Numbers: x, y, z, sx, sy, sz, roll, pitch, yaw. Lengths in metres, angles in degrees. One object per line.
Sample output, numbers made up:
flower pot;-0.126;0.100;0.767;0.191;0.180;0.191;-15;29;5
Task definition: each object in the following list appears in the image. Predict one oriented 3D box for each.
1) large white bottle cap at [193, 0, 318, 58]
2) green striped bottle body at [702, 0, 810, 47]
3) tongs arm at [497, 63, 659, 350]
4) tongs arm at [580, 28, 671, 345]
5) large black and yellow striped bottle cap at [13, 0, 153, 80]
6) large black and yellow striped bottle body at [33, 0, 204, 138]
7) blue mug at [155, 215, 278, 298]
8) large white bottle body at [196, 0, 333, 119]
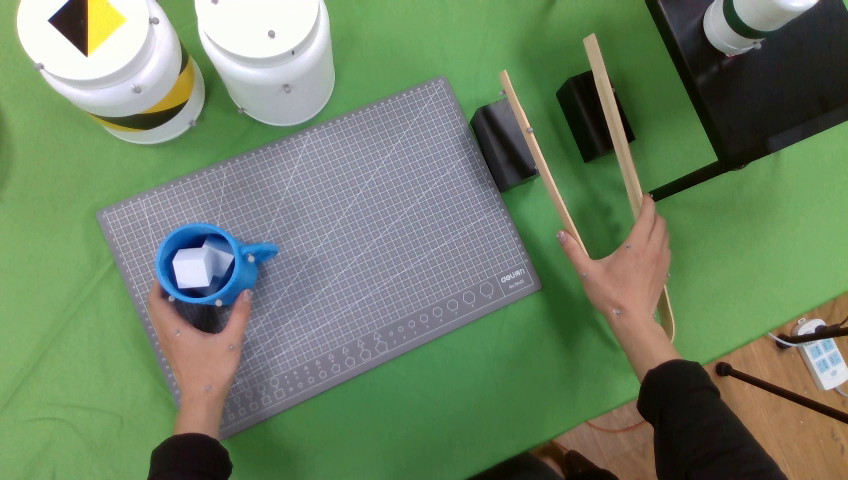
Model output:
large white bottle cap;-0.159;-0.231;0.575;0.115;0.018;0.114;1;83;-7
green striped bottle body;0.322;-0.235;0.569;0.063;0.119;0.063;1;83;-6
tongs arm;0.185;-0.034;0.717;0.051;0.026;0.386;-26;99;-11
tongs arm;0.242;-0.059;0.727;0.028;0.027;0.388;-19;98;-15
large black and yellow striped bottle cap;-0.311;-0.205;0.555;0.115;0.019;0.114;1;85;-8
large black and yellow striped bottle body;-0.320;-0.194;0.637;0.131;0.184;0.130;1;83;-6
blue mug;-0.219;0.017;0.665;0.117;0.106;0.082;-16;85;-8
large white bottle body;-0.168;-0.220;0.657;0.131;0.184;0.130;1;83;-6
